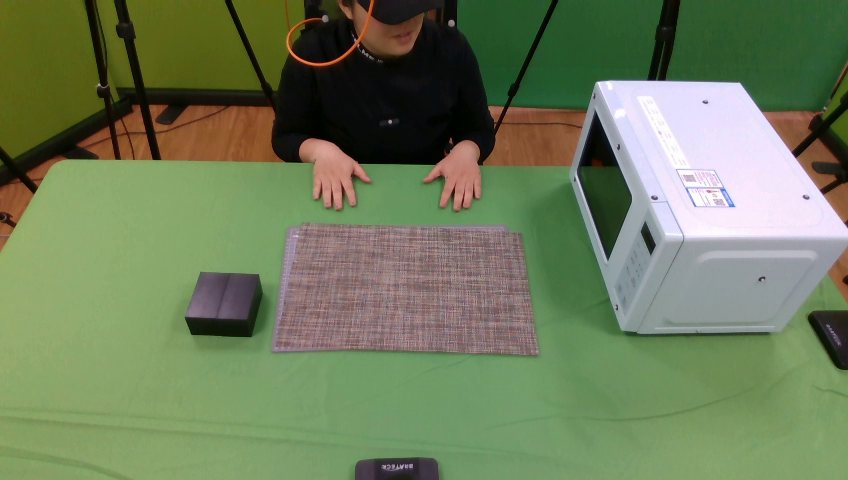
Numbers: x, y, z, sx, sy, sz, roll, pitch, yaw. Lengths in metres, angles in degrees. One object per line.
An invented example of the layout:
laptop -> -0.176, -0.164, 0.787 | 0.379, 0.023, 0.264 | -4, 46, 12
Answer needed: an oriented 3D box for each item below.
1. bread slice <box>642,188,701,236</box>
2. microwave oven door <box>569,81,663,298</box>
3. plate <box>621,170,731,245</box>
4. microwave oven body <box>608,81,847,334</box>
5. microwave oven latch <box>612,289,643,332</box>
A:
bread slice -> 0.494, -0.057, 1.197 | 0.105, 0.019, 0.131 | 6, 42, 4
microwave oven door -> 0.353, -0.104, 1.147 | 0.039, 0.245, 0.353 | 0, 46, -4
plate -> 0.490, -0.060, 1.194 | 0.209, 0.038, 0.208 | 3, 45, -2
microwave oven body -> 0.501, -0.070, 1.132 | 0.326, 0.261, 0.438 | -1, 45, -4
microwave oven latch -> 0.357, 0.124, 1.068 | 0.030, 0.029, 0.078 | 0, 45, -3
